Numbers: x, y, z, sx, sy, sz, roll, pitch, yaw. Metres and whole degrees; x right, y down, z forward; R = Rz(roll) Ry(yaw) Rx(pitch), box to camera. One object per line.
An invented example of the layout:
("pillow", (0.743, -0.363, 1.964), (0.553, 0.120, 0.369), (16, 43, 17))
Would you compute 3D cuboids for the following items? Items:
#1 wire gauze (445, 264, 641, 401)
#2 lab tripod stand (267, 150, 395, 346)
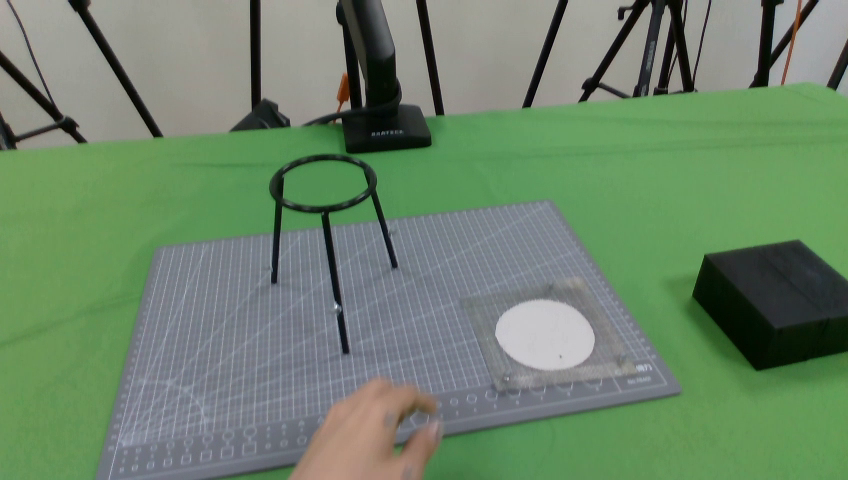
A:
("wire gauze", (0.100, 0.071, 0.525), (0.122, 0.011, 0.123), (-18, 46, -24))
("lab tripod stand", (-0.083, -0.001, 0.544), (0.148, 0.132, 0.147), (1, 37, -1))
